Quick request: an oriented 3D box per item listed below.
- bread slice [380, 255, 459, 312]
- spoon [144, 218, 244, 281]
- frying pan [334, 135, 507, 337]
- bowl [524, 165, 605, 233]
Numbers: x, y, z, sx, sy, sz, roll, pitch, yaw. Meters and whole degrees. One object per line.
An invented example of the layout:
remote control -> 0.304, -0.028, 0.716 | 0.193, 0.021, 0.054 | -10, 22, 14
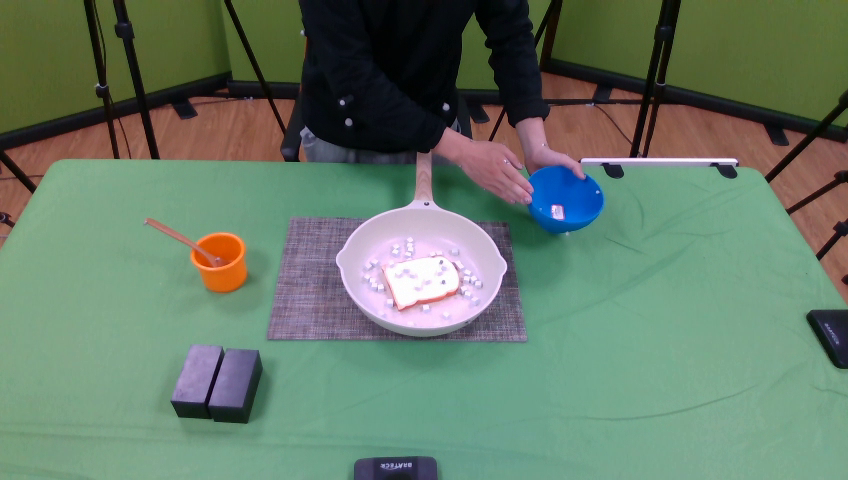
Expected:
bread slice -> -0.005, 0.074, 1.119 | 0.134, 0.018, 0.106 | -16, 50, -16
spoon -> -0.401, 0.015, 1.064 | 0.195, 0.021, 0.041 | 41, 37, -29
frying pan -> -0.004, -0.026, 1.160 | 0.307, 0.103, 0.485 | 4, 55, -2
bowl -> 0.263, -0.067, 1.174 | 0.151, 0.077, 0.150 | 3, 51, -3
